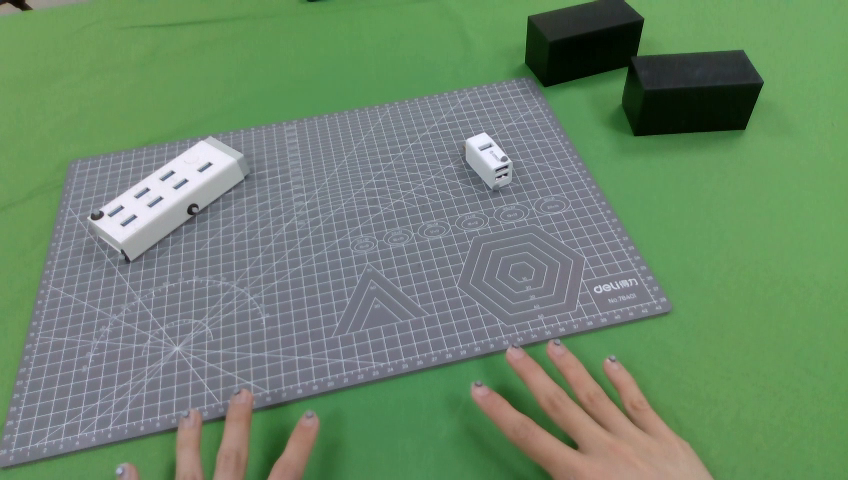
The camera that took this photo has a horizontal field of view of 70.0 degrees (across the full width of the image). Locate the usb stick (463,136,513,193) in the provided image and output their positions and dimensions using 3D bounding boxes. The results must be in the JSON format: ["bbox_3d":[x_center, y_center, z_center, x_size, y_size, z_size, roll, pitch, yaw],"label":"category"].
[{"bbox_3d":[0.052,-0.069,0.518,0.021,0.027,0.058,-25,48,-13],"label":"usb stick"}]

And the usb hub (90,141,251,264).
[{"bbox_3d":[-0.210,-0.035,0.510,0.049,0.025,0.125,29,56,27],"label":"usb hub"}]
